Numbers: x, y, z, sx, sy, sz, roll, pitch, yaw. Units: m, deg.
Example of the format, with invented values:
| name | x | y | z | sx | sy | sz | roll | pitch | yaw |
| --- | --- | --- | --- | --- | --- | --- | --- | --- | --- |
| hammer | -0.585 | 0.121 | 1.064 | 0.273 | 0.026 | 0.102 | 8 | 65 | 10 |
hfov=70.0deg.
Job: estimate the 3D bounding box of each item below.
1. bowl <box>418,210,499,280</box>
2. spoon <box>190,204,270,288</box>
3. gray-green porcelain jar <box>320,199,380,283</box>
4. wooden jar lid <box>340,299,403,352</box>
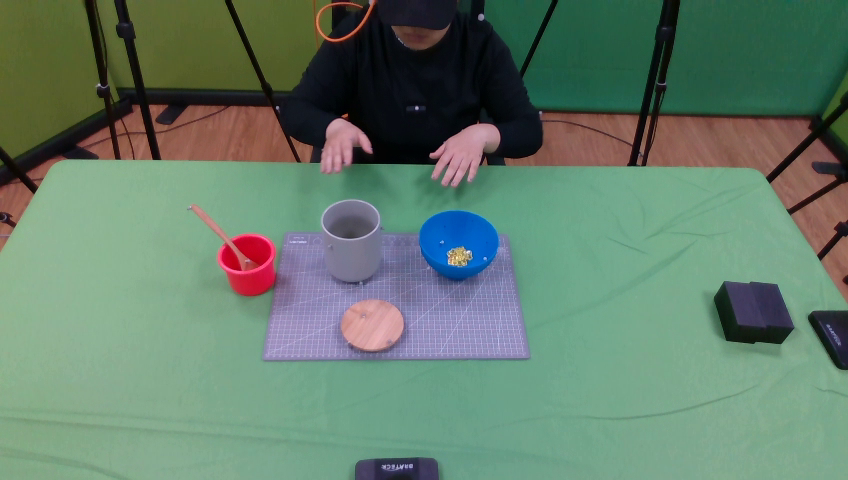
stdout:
| name | x | y | z | sx | sy | sz | roll | pitch | yaw |
| --- | --- | --- | --- | --- | --- | --- | --- | --- | --- |
| bowl | 0.062 | 0.022 | 1.140 | 0.151 | 0.077 | 0.150 | 2 | 46 | -2 |
| spoon | -0.345 | 0.009 | 1.079 | 0.194 | 0.021 | 0.041 | 54 | 51 | -15 |
| gray-green porcelain jar | -0.133 | 0.007 | 1.106 | 0.106 | 0.127 | 0.105 | 2 | 46 | -2 |
| wooden jar lid | -0.090 | 0.150 | 1.045 | 0.108 | 0.021 | 0.107 | 3 | 47 | -3 |
